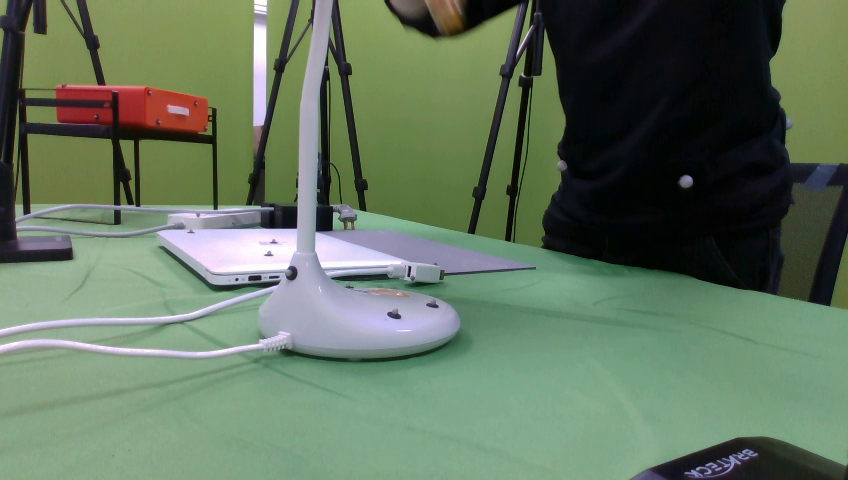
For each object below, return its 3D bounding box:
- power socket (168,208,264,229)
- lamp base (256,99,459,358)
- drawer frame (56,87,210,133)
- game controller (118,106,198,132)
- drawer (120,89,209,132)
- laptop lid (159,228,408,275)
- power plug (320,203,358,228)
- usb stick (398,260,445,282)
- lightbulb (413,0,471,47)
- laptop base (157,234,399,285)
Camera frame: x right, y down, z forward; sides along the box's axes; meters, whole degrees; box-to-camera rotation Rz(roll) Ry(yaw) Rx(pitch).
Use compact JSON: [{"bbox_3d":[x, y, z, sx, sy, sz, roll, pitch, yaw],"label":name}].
[{"bbox_3d":[-0.381,-0.038,1.128,0.072,0.032,0.227,4,8,16],"label":"power socket"},{"bbox_3d":[-0.055,-0.013,0.463,0.160,0.180,0.180,6,11,27],"label":"lamp base"},{"bbox_3d":[-0.598,-0.269,1.261,0.213,0.082,0.202,4,8,14],"label":"drawer frame"},{"bbox_3d":[-0.554,-0.252,1.254,0.097,0.051,0.155,6,11,19],"label":"game controller"},{"bbox_3d":[-0.595,-0.268,1.263,0.211,0.073,0.195,3,8,15],"label":"drawer"},{"bbox_3d":[-0.201,0.007,0.806,0.243,0.013,0.355,-1,8,-31],"label":"laptop lid"},{"bbox_3d":[-0.170,-0.046,1.209,0.073,0.052,0.035,-6,-17,-9],"label":"power plug"},{"bbox_3d":[-0.001,0.036,0.696,0.027,0.021,0.059,8,0,43],"label":"usb stick"},{"bbox_3d":[0.018,-0.206,0.514,0.059,0.107,0.059,-10,-26,-5],"label":"lightbulb"},{"bbox_3d":[-0.204,0.019,0.806,0.237,0.023,0.352,0,7,-33],"label":"laptop base"}]
